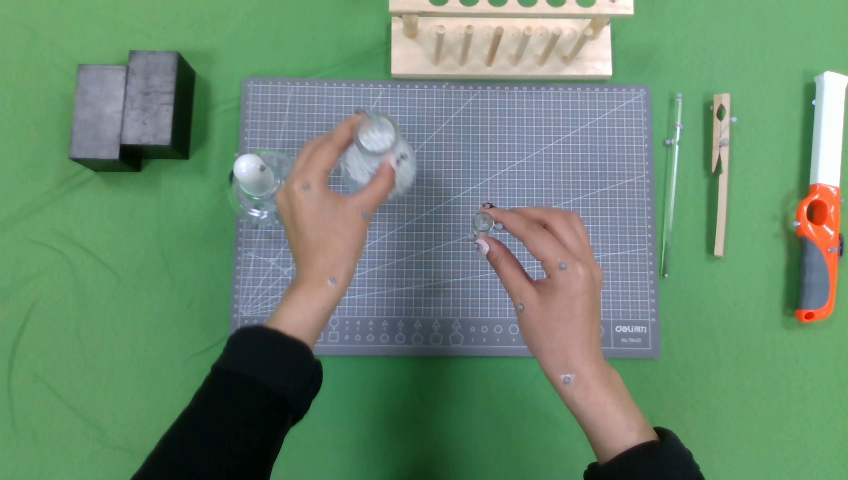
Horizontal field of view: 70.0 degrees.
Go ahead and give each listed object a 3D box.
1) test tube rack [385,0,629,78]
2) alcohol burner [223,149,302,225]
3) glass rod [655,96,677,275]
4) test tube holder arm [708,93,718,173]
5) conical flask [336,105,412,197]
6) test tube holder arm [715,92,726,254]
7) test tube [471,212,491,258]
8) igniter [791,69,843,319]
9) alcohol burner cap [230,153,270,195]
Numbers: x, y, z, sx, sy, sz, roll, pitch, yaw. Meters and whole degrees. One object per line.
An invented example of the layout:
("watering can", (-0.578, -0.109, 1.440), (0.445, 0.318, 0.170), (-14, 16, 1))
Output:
("test tube rack", (0.081, -0.219, 0.638), (0.242, 0.085, 0.066), (0, 82, -2))
("alcohol burner", (-0.162, -0.056, 0.592), (0.078, 0.119, 0.077), (0, 81, 1))
("glass rod", (0.264, -0.061, 0.660), (0.008, 0.008, 0.199), (7, 85, -1))
("test tube holder arm", (0.319, -0.118, 0.666), (0.010, 0.015, 0.087), (-2, 82, 35))
("conical flask", (-0.046, -0.085, 0.546), (0.075, 0.122, 0.075), (0, 85, -4))
("test tube holder arm", (0.321, -0.073, 0.657), (0.013, 0.015, 0.178), (-3, 81, 34))
("test tube", (0.048, -0.002, 0.515), (0.017, 0.151, 0.017), (-1, 81, 5))
("igniter", (0.426, -0.050, 0.654), (0.057, 0.025, 0.275), (10, 83, -10))
("alcohol burner cap", (-0.161, -0.063, 0.556), (0.034, 0.048, 0.033), (1, 78, -5))
